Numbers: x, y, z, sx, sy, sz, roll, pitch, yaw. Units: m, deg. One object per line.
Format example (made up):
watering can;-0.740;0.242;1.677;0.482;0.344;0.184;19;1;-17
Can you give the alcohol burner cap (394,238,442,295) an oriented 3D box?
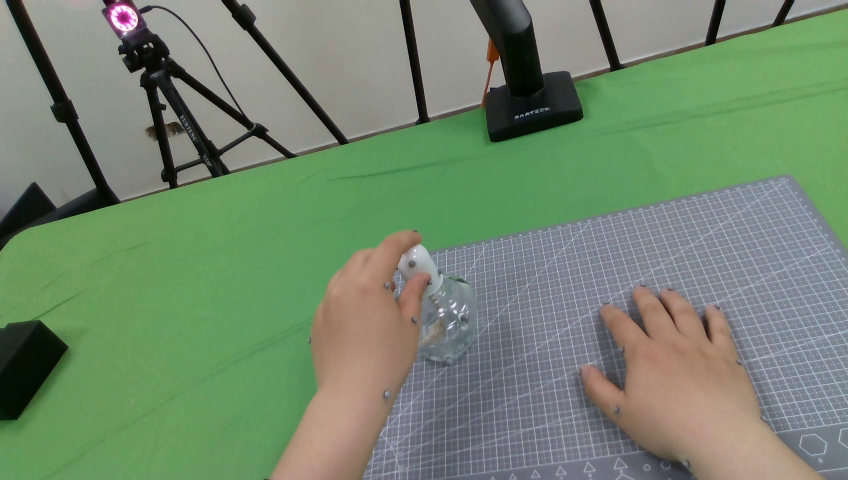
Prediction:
alcohol burner cap;-0.006;0.018;0.494;0.034;0.048;0.033;-12;46;13

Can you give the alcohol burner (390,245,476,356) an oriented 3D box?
alcohol burner;0.003;0.045;0.517;0.078;0.120;0.077;-11;41;10
